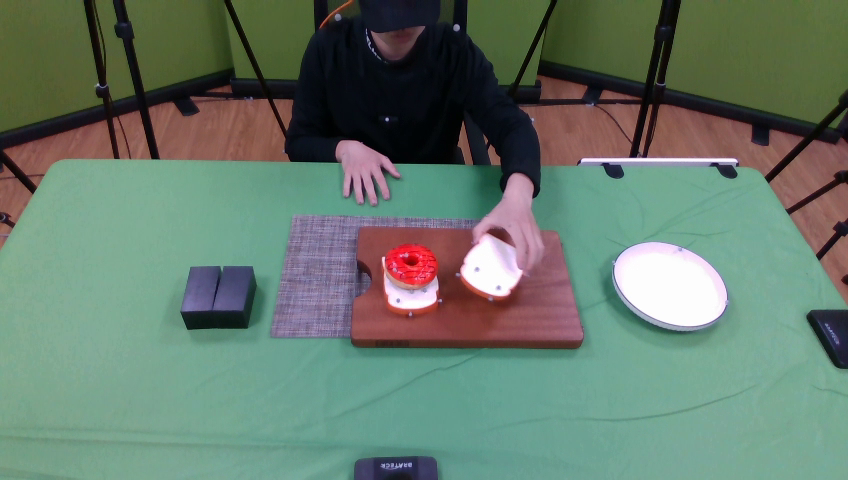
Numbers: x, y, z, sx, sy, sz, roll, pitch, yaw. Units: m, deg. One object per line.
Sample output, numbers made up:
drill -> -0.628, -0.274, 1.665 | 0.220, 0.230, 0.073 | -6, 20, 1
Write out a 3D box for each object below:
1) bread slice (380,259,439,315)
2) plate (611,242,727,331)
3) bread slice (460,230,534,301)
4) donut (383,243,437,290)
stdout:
bread slice -> -0.024, 0.079, 1.087 | 0.105, 0.019, 0.130 | -3, 45, -5
plate -> 0.455, 0.090, 1.138 | 0.209, 0.038, 0.208 | 3, 45, -2
bread slice -> 0.123, 0.048, 1.055 | 0.107, 0.018, 0.134 | 24, 47, 10
donut -> -0.025, 0.047, 1.076 | 0.099, 0.048, 0.098 | 4, 45, -4
